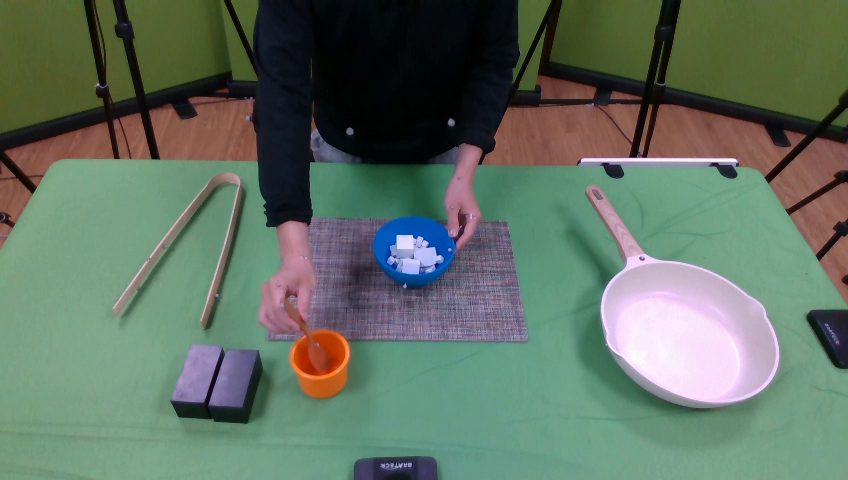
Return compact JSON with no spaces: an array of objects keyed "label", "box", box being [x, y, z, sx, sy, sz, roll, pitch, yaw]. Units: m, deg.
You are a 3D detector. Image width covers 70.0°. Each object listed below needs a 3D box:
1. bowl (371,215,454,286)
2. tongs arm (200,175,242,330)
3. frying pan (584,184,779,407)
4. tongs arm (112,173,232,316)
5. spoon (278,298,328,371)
[{"label":"bowl","box":[-0.023,0.033,1.120,0.151,0.077,0.150,2,46,-2]},{"label":"tongs arm","box":[-0.387,0.008,1.159,0.028,0.028,0.385,-1,46,-3]},{"label":"frying pan","box":[0.412,0.079,1.097,0.307,0.103,0.484,-10,56,-15]},{"label":"tongs arm","box":[-0.467,-0.005,1.157,0.051,0.026,0.382,11,45,4]},{"label":"spoon","box":[-0.178,0.140,0.906,0.021,0.195,0.041,-2,50,8]}]
